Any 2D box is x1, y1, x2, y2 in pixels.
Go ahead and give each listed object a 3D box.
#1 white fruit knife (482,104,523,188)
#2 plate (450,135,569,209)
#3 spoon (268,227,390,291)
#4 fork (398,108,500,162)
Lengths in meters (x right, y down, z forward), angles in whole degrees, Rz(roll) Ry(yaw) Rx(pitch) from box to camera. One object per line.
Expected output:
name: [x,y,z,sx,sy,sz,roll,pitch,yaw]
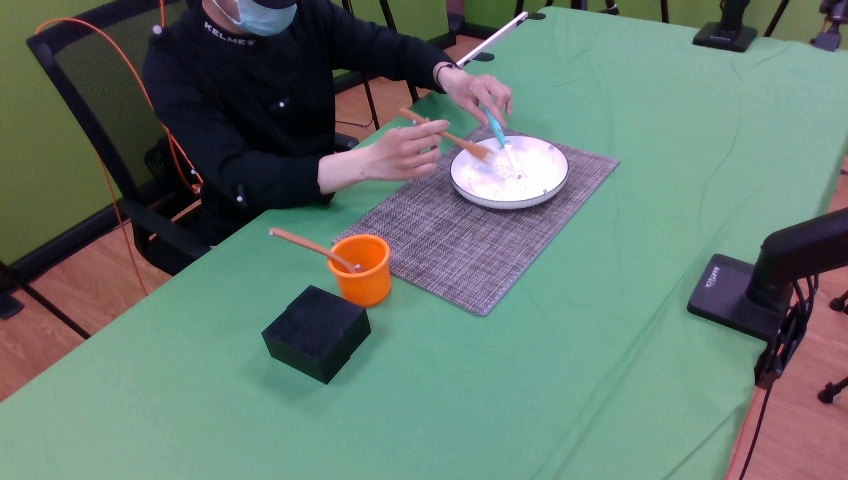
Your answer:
white fruit knife: [0.141,-0.172,1.077,0.016,0.027,0.206,-16,58,-4]
plate: [0.149,-0.117,1.066,0.209,0.038,0.208,-3,41,3]
spoon: [-0.132,0.025,0.862,0.021,0.195,0.041,-40,31,32]
fork: [0.045,-0.173,0.998,0.209,0.028,0.018,20,19,-28]
